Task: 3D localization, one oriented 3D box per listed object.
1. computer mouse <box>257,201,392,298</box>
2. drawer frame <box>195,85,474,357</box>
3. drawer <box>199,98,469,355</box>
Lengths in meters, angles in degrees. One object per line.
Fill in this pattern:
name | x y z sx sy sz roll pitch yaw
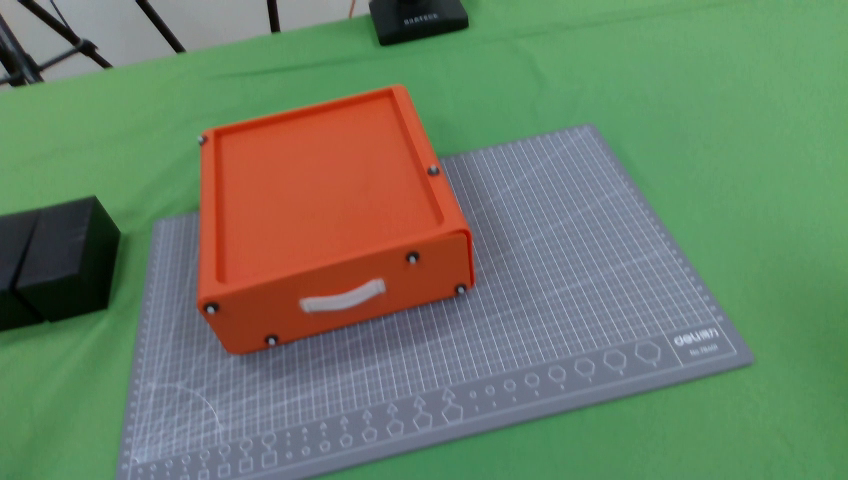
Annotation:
computer mouse | -0.086 0.006 0.510 0.117 0.041 0.062 -18 50 1
drawer frame | -0.084 -0.026 0.521 0.202 0.083 0.211 -16 46 -5
drawer | -0.084 -0.024 0.520 0.194 0.074 0.209 -15 46 -4
